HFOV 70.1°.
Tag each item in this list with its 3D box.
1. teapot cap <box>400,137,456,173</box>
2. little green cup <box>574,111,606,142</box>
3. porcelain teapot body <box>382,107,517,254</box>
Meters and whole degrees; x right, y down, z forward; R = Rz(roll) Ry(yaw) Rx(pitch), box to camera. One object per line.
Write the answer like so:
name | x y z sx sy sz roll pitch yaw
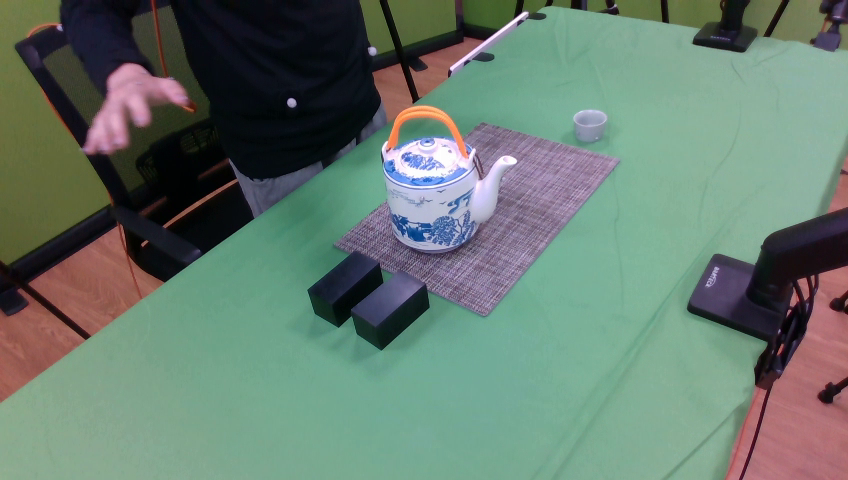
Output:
teapot cap | 0.006 -0.127 0.893 0.085 0.044 0.084 -3 43 4
little green cup | 0.318 -0.217 1.164 0.061 0.039 0.061 -3 41 3
porcelain teapot body | 0.039 -0.095 0.912 0.205 0.226 0.145 5 42 14
